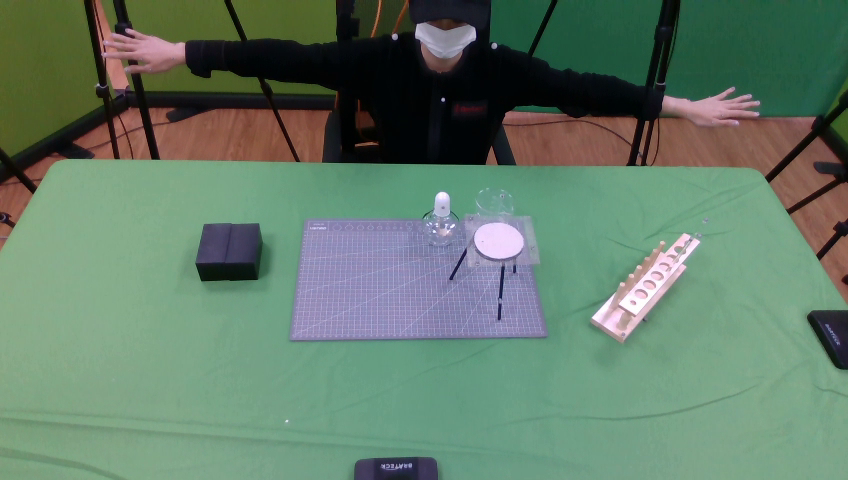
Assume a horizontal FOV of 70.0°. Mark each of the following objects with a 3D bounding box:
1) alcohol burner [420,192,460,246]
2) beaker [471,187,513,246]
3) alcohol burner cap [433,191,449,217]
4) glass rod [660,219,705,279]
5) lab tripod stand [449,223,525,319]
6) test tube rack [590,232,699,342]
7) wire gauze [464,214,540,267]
[{"bbox_3d":[0.032,-0.046,1.176,0.078,0.120,0.077,2,44,-1],"label":"alcohol burner"},{"bbox_3d":[0.134,-0.042,1.190,0.083,0.101,0.074,34,53,25],"label":"beaker"},{"bbox_3d":[0.033,-0.070,1.150,0.034,0.048,0.033,1,44,0],"label":"alcohol burner cap"},{"bbox_3d":[0.444,0.032,1.063,0.008,0.200,0.008,5,49,-6],"label":"glass rod"},{"bbox_3d":[0.120,0.046,1.080,0.148,0.132,0.147,1,47,-1],"label":"lab tripod stand"},{"bbox_3d":[0.407,0.074,1.112,0.066,0.085,0.242,35,53,26],"label":"test tube rack"},{"bbox_3d":[0.131,-0.002,1.034,0.121,0.011,0.124,1,45,-2],"label":"wire gauze"}]
